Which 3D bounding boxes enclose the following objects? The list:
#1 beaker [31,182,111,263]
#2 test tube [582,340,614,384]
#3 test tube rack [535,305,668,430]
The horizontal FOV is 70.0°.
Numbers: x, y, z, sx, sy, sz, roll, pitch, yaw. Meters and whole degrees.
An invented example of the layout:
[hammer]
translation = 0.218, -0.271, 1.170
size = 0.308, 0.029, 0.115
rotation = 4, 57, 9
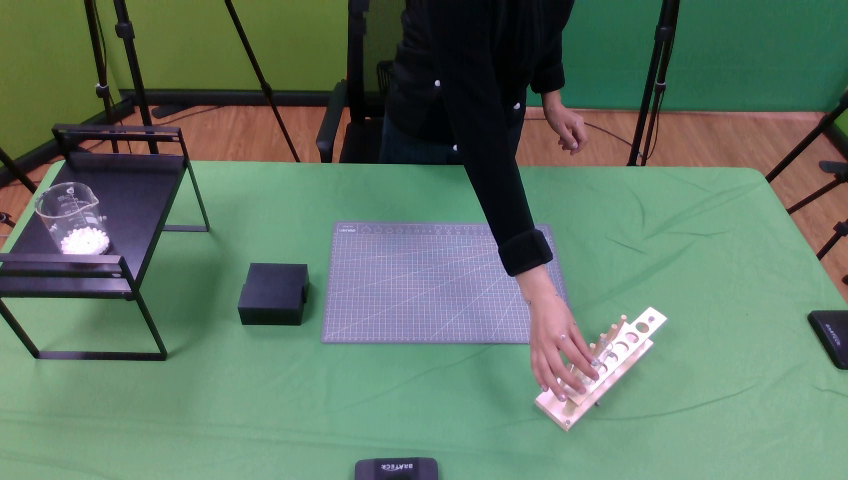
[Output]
[beaker]
translation = -0.502, -0.022, 0.877
size = 0.084, 0.101, 0.073
rotation = -2, 47, -6
[test tube]
translation = 0.250, 0.196, 0.903
size = 0.017, 0.151, 0.017
rotation = 5, 47, -5
[test tube rack]
translation = 0.290, 0.193, 0.984
size = 0.242, 0.085, 0.066
rotation = -32, 57, -30
